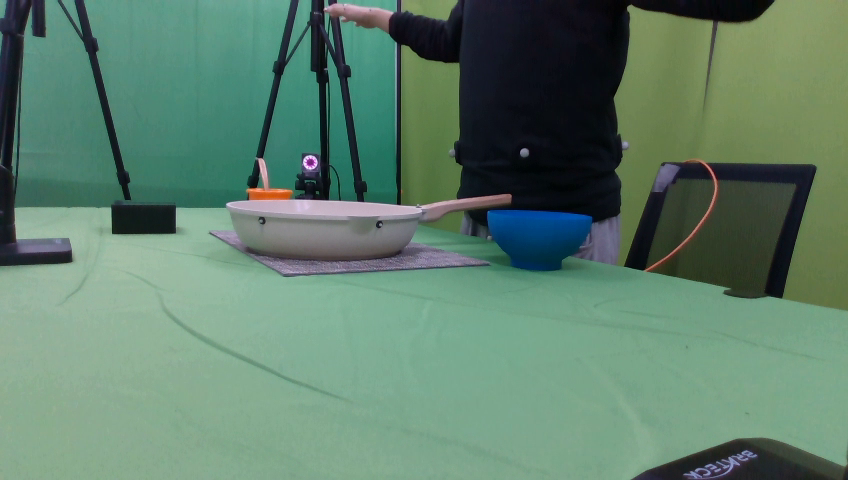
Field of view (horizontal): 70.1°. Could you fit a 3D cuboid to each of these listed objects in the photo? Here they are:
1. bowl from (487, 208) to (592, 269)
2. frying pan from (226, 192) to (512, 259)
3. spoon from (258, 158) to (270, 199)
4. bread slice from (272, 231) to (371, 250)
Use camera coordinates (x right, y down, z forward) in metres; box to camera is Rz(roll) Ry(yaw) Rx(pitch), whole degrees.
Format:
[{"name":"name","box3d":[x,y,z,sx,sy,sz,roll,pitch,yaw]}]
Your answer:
[{"name":"bowl","box3d":[0.163,-0.003,0.875,0.151,0.077,0.151,2,7,0]},{"name":"frying pan","box3d":[-0.058,-0.041,0.975,0.490,0.102,0.305,-11,13,-26]},{"name":"spoon","box3d":[-0.332,-0.107,1.269,0.042,0.021,0.193,0,52,-24]},{"name":"bread slice","box3d":[-0.148,0.000,0.929,0.133,0.018,0.107,6,8,38]}]
